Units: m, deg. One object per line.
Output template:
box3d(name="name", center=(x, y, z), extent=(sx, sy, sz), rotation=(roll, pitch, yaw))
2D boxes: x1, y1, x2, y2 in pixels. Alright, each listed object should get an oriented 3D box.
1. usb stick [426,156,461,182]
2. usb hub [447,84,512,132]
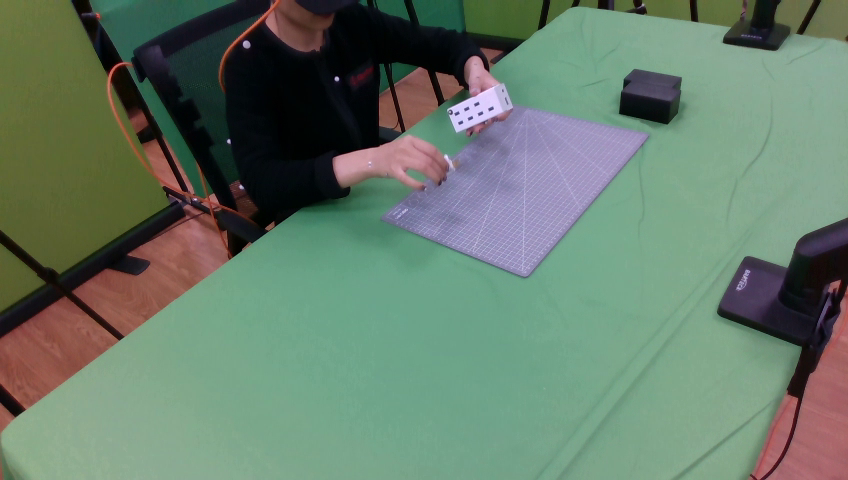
box3d(name="usb stick", center=(0.034, -0.122, 1.022), extent=(0.059, 0.027, 0.021), rotation=(-20, 41, 18))
box3d(name="usb hub", center=(0.100, -0.239, 1.103), extent=(0.124, 0.049, 0.025), rotation=(-14, 11, 45))
